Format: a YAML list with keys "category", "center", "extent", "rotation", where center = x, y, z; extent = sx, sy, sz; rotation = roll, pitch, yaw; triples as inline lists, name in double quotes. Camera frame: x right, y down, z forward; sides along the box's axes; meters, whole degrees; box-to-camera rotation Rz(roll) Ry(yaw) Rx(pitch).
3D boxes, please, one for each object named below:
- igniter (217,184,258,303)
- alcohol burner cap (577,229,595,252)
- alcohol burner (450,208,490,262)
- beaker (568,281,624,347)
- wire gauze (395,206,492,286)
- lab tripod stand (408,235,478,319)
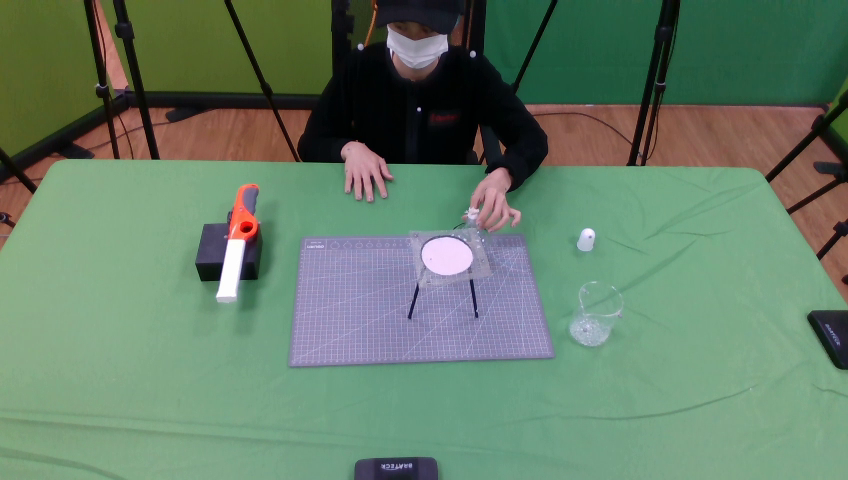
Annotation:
- category: "igniter"
  center: [-0.339, -0.003, 1.106]
  extent: [0.057, 0.025, 0.274]
  rotation: [1, 49, -6]
- category: "alcohol burner cap"
  center: [0.326, -0.002, 1.213]
  extent: [0.034, 0.048, 0.033]
  rotation: [1, 48, -1]
- category: "alcohol burner"
  center: [0.088, -0.015, 1.153]
  extent: [0.078, 0.120, 0.077]
  rotation: [1, 47, 0]
- category: "beaker"
  center: [0.290, 0.132, 1.041]
  extent: [0.084, 0.101, 0.073]
  rotation: [-34, 57, -31]
- category: "wire gauze"
  center: [0.031, 0.010, 0.993]
  extent: [0.125, 0.011, 0.120]
  rotation: [-25, 57, -17]
- category: "lab tripod stand"
  center: [0.032, 0.065, 1.057]
  extent: [0.148, 0.132, 0.147]
  rotation: [1, 45, -1]
